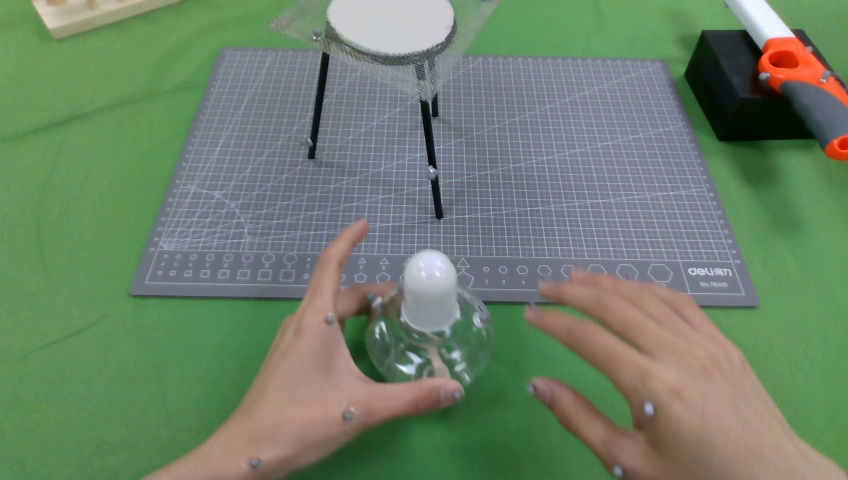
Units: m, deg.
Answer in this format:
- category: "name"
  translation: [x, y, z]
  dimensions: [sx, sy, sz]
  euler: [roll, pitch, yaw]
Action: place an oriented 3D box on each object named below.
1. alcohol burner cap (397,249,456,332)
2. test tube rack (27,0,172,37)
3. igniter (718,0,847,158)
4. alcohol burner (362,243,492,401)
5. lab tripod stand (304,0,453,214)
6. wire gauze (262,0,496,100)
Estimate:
- category: "alcohol burner cap"
  translation: [0.002, 0.024, 0.326]
  dimensions: [0.034, 0.048, 0.033]
  euler: [1, 51, -1]
- category: "test tube rack"
  translation: [-0.299, -0.305, 0.640]
  dimensions: [0.242, 0.086, 0.066]
  euler: [-29, 59, -23]
- category: "igniter"
  translation: [0.312, -0.168, 0.536]
  dimensions: [0.057, 0.025, 0.273]
  euler: [-3, 50, -1]
- category: "alcohol burner"
  translation: [0.001, 0.044, 0.350]
  dimensions: [0.078, 0.120, 0.077]
  euler: [0, 51, 1]
- category: "lab tripod stand"
  translation: [-0.024, -0.110, 0.464]
  dimensions: [0.148, 0.132, 0.147]
  euler: [3, 52, -3]
- category: "wire gauze"
  translation: [-0.026, -0.153, 0.412]
  dimensions: [0.124, 0.011, 0.121]
  euler: [24, 55, 14]
